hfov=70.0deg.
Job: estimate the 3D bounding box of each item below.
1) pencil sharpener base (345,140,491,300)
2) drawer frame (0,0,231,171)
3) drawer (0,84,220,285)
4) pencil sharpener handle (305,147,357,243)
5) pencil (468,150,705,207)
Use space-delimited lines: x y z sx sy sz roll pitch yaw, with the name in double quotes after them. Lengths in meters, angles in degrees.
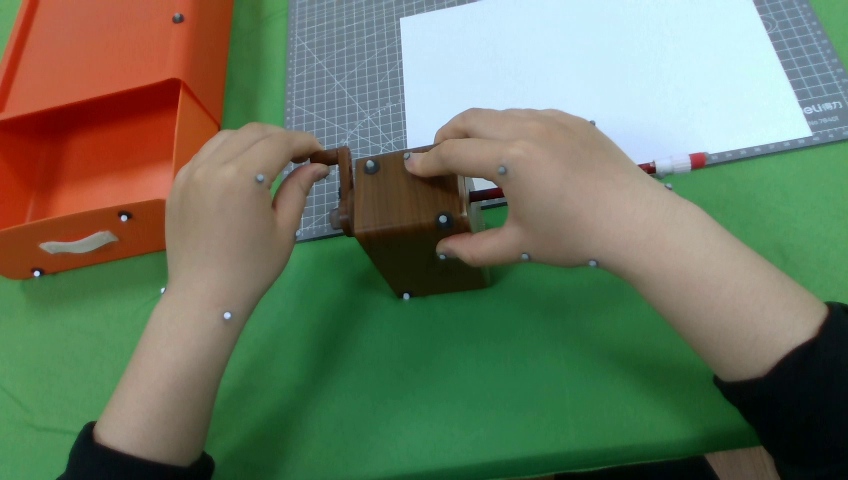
-0.001 -0.008 0.412 0.076 0.108 0.061 -10 61 11 "pencil sharpener base"
-0.299 -0.183 0.592 0.201 0.083 0.211 -12 60 9 "drawer frame"
-0.286 -0.079 0.539 0.194 0.074 0.209 -12 60 9 "drawer"
-0.060 -0.027 0.399 0.030 0.036 0.067 -10 80 11 "pencil sharpener handle"
0.072 -0.032 0.373 0.194 0.012 0.012 -10 61 9 "pencil"
